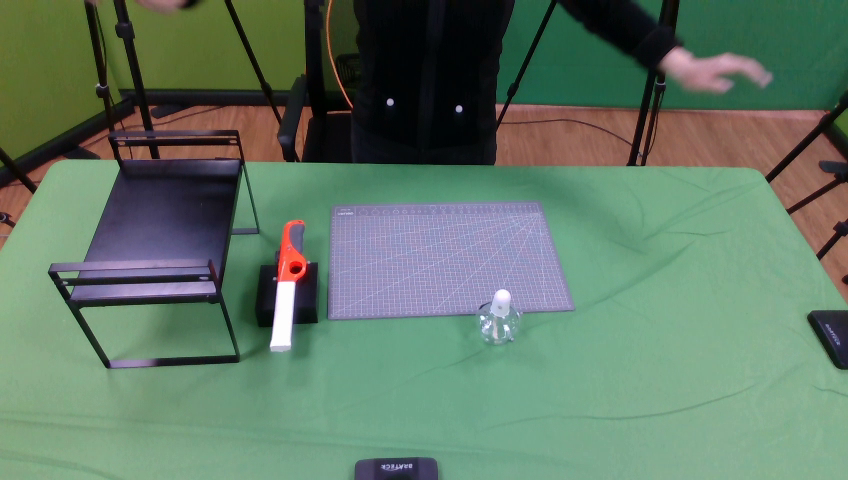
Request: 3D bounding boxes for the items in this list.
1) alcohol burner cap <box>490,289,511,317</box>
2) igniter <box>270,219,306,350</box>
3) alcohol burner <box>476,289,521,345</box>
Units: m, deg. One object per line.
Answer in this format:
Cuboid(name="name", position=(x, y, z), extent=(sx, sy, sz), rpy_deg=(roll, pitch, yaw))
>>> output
Cuboid(name="alcohol burner cap", position=(0.128, 0.101, 1.002), extent=(0.034, 0.048, 0.033), rpy_deg=(3, 45, -3))
Cuboid(name="igniter", position=(-0.235, 0.067, 1.047), extent=(0.057, 0.025, 0.274), rpy_deg=(0, 49, -6))
Cuboid(name="alcohol burner", position=(0.128, 0.123, 1.024), extent=(0.078, 0.119, 0.077), rpy_deg=(3, 45, -3))
